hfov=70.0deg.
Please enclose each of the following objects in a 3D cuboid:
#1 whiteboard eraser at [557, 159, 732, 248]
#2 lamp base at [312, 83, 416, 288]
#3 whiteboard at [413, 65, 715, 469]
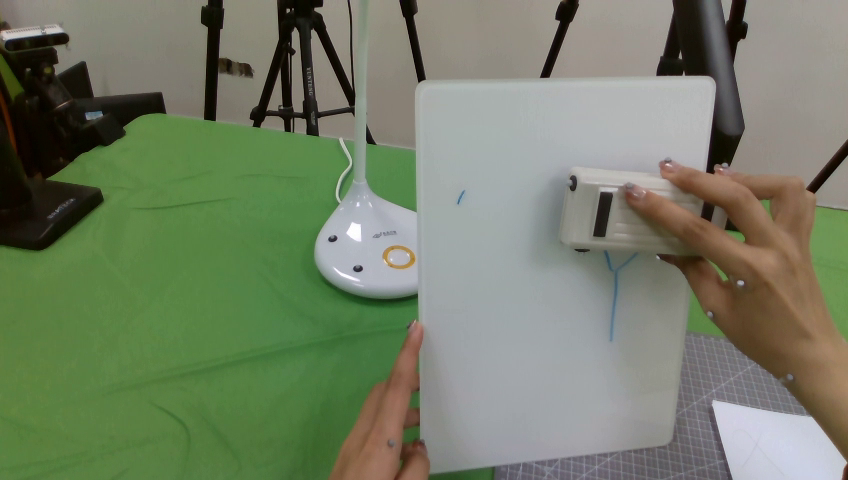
[{"bbox_3d":[0.152,-0.025,0.423,0.113,0.056,0.041,2,20,-9],"label":"whiteboard eraser"},{"bbox_3d":[-0.052,-0.067,0.661,0.161,0.182,0.177,-22,41,-30],"label":"lamp base"},{"bbox_3d":[0.091,0.010,0.516,0.218,0.307,0.143,-3,18,-8],"label":"whiteboard"}]
